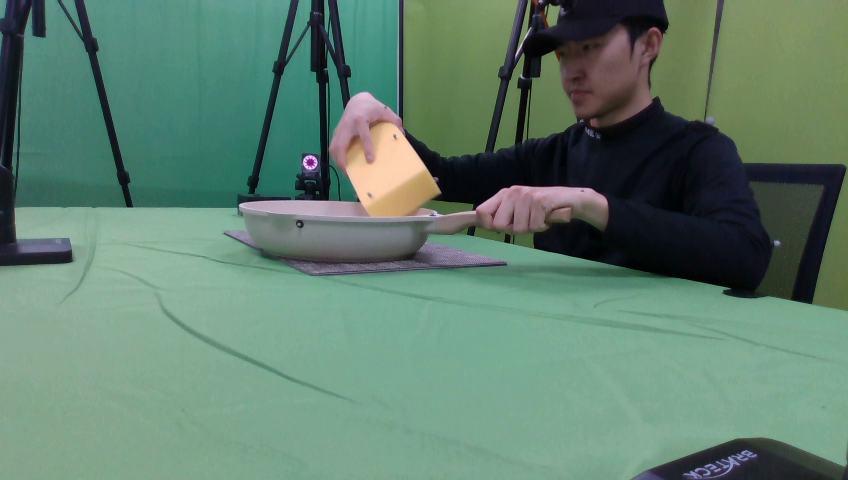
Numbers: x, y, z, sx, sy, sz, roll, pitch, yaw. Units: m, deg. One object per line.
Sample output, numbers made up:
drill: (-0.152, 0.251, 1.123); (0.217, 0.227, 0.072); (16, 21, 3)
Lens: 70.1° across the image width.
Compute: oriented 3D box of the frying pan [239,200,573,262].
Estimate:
frying pan: (-0.033, -0.026, 0.867); (0.486, 0.102, 0.308); (-3, 5, 25)

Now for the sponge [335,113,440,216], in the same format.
sponge: (-0.068, -0.124, 1.037); (0.118, 0.061, 0.206); (-33, 41, 2)
